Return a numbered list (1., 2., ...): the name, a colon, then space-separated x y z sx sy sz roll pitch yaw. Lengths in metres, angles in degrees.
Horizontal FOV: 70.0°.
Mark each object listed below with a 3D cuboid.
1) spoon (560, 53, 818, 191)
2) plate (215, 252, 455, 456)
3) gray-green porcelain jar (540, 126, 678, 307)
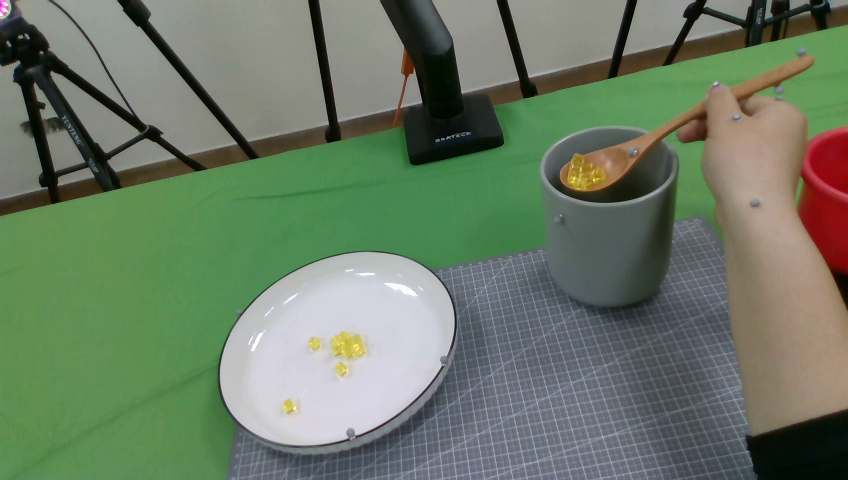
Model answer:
1. spoon: 0.193 -0.087 0.452 0.193 0.022 0.041 -29 44 19
2. plate: -0.074 0.095 0.527 0.207 0.039 0.205 -8 42 7
3. gray-green porcelain jar: 0.155 -0.015 0.513 0.106 0.128 0.105 -8 42 8
